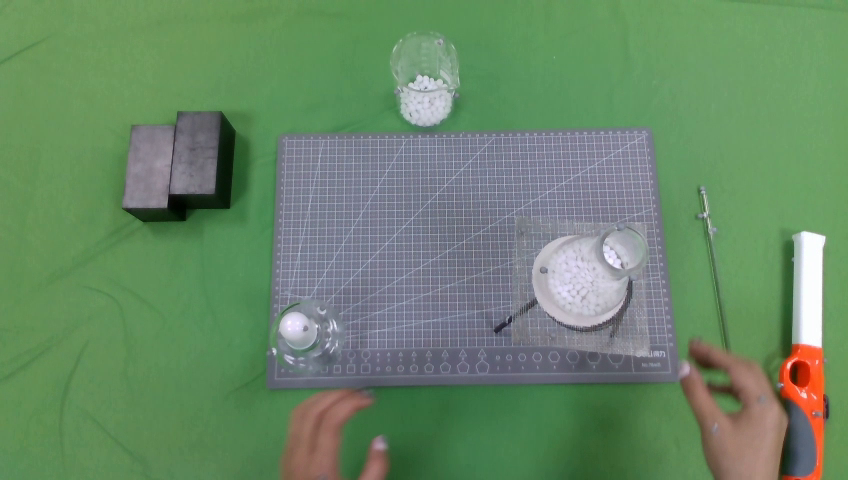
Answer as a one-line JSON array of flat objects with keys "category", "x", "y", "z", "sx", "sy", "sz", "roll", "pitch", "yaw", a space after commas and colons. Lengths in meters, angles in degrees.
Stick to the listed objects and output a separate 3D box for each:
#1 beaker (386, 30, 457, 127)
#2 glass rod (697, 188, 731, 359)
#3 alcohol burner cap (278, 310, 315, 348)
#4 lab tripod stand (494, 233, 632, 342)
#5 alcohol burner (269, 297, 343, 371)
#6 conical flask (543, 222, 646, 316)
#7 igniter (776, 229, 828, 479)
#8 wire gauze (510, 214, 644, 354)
[{"category": "beaker", "x": 0.001, "y": -0.179, "z": 0.697, "sx": 0.084, "sy": 0.100, "sz": 0.074, "roll": 34, "pitch": 79, "yaw": 8}, {"category": "glass rod", "x": 0.328, "y": 0.035, "z": 0.688, "sx": 0.008, "sy": 0.008, "sz": 0.198, "roll": -2, "pitch": 75, "yaw": -1}, {"category": "alcohol burner cap", "x": -0.124, "y": 0.083, "z": 0.583, "sx": 0.034, "sy": 0.048, "sz": 0.033, "roll": 1, "pitch": 69, "yaw": -2}, {"category": "lab tripod stand", "x": 0.144, "y": 0.056, "z": 0.617, "sx": 0.148, "sy": 0.132, "sz": 0.147, "roll": 0, "pitch": 77, "yaw": 1}, {"category": "alcohol burner", "x": -0.124, "y": 0.094, "z": 0.618, "sx": 0.078, "sy": 0.119, "sz": 0.077, "roll": 0, "pitch": 77, "yaw": 2}, {"category": "conical flask", "x": 0.144, "y": 0.019, "z": 0.497, "sx": 0.075, "sy": 0.122, "sz": 0.075, "roll": 0, "pitch": 77, "yaw": 0}, {"category": "igniter", "x": 0.411, "y": 0.122, "z": 0.657, "sx": 0.057, "sy": 0.025, "sz": 0.275, "roll": 13, "pitch": 76, "yaw": -7}, {"category": "wire gauze", "x": 0.141, "y": 0.038, "z": 0.553, "sx": 0.125, "sy": 0.011, "sz": 0.121, "roll": 5, "pitch": 78, "yaw": 0}]
